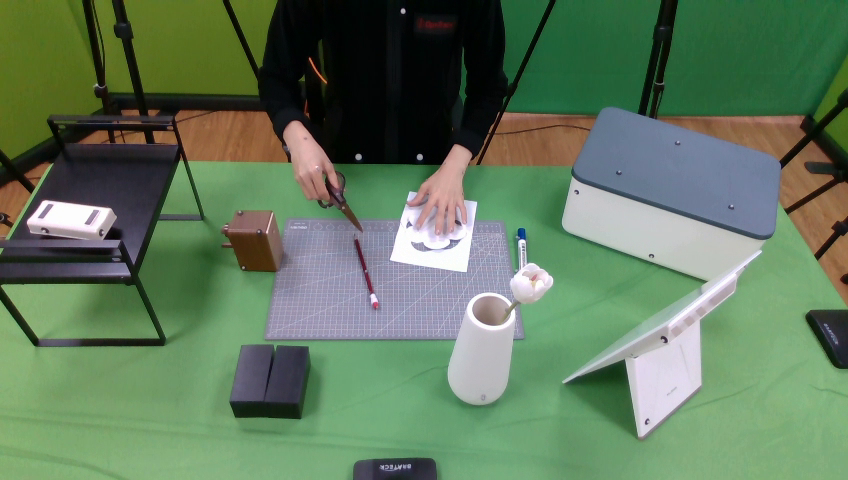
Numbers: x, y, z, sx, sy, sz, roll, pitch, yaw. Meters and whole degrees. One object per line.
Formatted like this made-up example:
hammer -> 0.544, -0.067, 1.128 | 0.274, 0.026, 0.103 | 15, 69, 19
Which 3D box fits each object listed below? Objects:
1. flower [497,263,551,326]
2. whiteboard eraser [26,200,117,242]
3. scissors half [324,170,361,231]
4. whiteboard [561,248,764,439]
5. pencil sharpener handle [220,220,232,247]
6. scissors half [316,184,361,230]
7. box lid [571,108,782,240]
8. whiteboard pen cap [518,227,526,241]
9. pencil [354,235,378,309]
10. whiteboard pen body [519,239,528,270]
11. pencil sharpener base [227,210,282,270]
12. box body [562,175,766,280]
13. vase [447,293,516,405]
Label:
flower -> 0.102, 0.121, 0.852 | 0.044, 0.363, 0.038 | -2, 64, -10
whiteboard eraser -> -0.532, -0.026, 0.919 | 0.113, 0.042, 0.055 | 7, 45, 3
scissors half -> -0.144, -0.073, 1.092 | 0.013, 0.040, 0.174 | 18, 31, -42
whiteboard -> 0.386, 0.176, 0.905 | 0.217, 0.306, 0.143 | -26, 72, -27
pencil sharpener handle -> -0.362, -0.009, 1.105 | 0.030, 0.068, 0.036 | 1, 52, 1
scissors half -> -0.155, -0.057, 1.096 | 0.013, 0.040, 0.174 | 25, 8, -43
box lid -> 0.491, -0.139, 1.168 | 0.370, 0.015, 0.262 | 21, 49, 15
whiteboard pen cap -> 0.197, -0.009, 1.220 | 0.018, 0.018, 0.033 | 5, 51, 0
pencil -> -0.113, 0.055, 1.142 | 0.012, 0.012, 0.192 | -10, 46, -13
whiteboard pen body -> 0.193, 0.035, 1.181 | 0.017, 0.017, 0.140 | 6, 48, 1
pencil sharpener base -> -0.311, 0.001, 1.112 | 0.077, 0.107, 0.061 | 1, 47, 1
box body -> 0.486, -0.088, 1.222 | 0.363, 0.161, 0.253 | 20, 48, 15
vase -> 0.091, 0.169, 0.921 | 0.098, 0.201, 0.097 | 3, 47, -3
